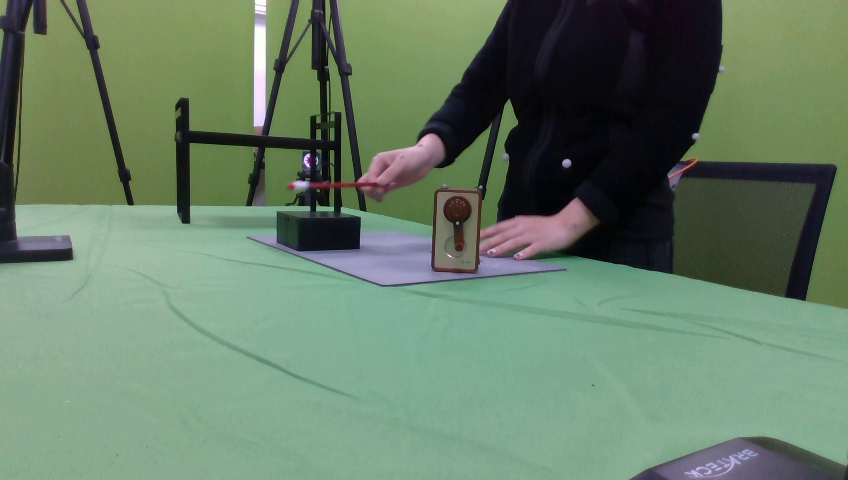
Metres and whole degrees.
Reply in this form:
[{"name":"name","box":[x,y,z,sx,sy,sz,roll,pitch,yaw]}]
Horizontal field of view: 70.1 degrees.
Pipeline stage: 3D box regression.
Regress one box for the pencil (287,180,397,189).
[{"name":"pencil","box":[-0.118,-0.086,0.918,0.195,0.012,0.012,-6,11,-40]}]

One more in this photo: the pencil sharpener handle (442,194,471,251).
[{"name":"pencil sharpener handle","box":[0.041,-0.021,0.731,0.036,0.067,0.030,-5,7,4]}]

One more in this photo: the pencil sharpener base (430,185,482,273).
[{"name":"pencil sharpener base","box":[0.042,-0.016,0.784,0.061,0.107,0.076,3,8,3]}]
